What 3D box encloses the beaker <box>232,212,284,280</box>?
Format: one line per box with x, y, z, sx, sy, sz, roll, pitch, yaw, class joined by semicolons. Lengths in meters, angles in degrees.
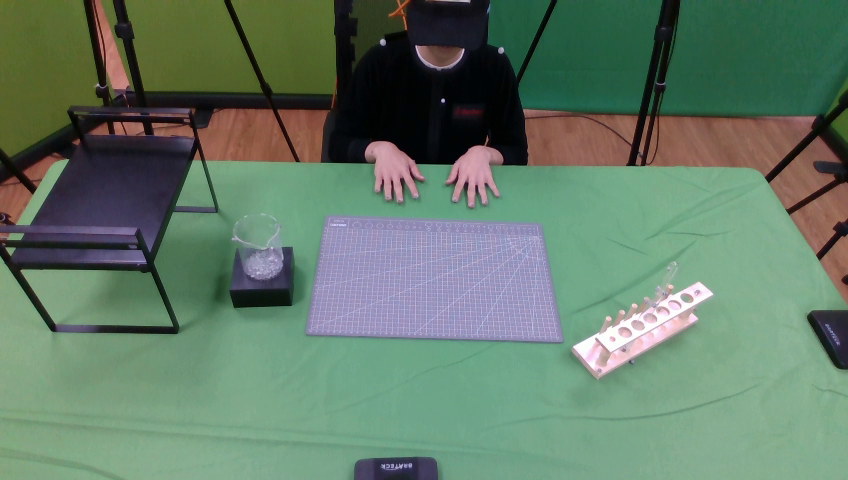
-0.280;0.016;1.037;0.074;0.101;0.083;-18;50;-20;beaker

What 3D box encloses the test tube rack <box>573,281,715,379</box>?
0.378;0.140;1.038;0.242;0.085;0.066;-22;51;-23;test tube rack

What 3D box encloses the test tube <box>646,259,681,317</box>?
0.406;0.083;1.033;0.017;0.151;0.017;1;48;-1;test tube

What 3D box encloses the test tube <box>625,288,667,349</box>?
0.355;0.130;0.976;0.017;0.151;0.017;5;45;-5;test tube
